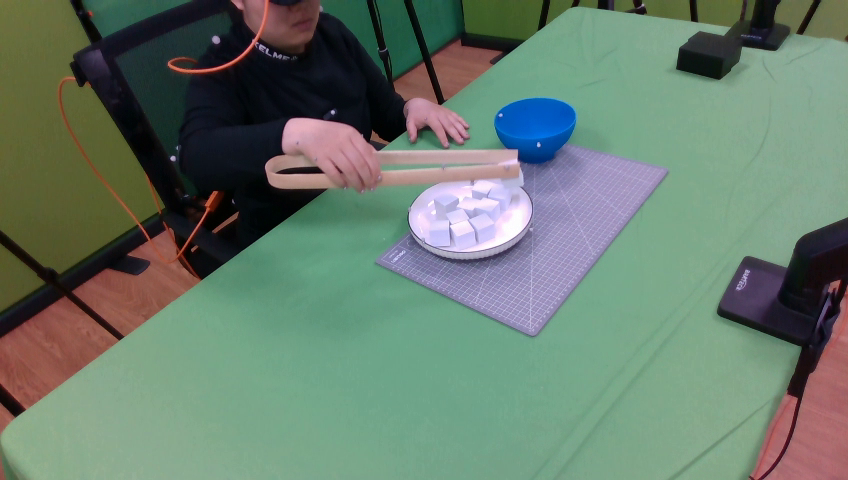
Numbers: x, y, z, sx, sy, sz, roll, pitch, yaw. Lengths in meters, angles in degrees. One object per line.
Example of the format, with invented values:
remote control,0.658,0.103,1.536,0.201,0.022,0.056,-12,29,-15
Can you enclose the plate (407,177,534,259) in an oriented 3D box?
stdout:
plate,0.076,-0.037,0.997,0.207,0.039,0.206,-5,40,5

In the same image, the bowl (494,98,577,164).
bowl,0.207,-0.195,1.128,0.151,0.077,0.150,-5,40,5

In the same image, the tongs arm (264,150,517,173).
tongs arm,-0.049,-0.121,0.934,0.388,0.028,0.028,-2,45,-1

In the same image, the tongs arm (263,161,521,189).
tongs arm,-0.048,-0.106,0.916,0.385,0.026,0.050,-5,41,-4
